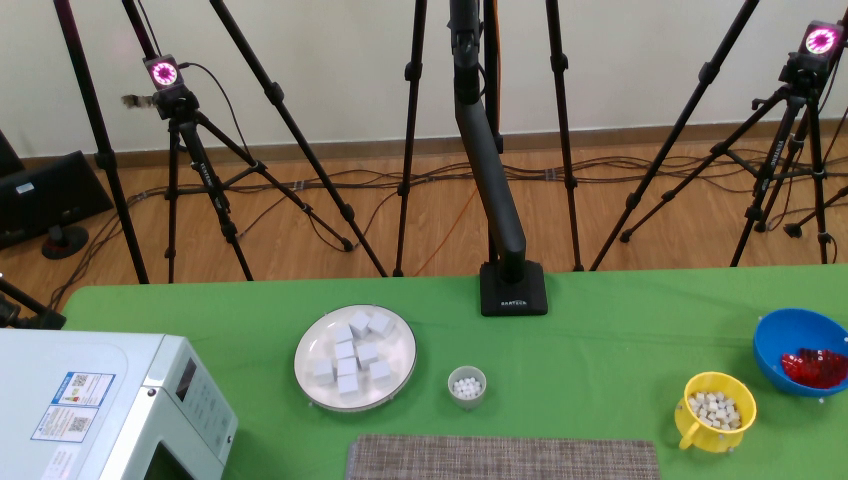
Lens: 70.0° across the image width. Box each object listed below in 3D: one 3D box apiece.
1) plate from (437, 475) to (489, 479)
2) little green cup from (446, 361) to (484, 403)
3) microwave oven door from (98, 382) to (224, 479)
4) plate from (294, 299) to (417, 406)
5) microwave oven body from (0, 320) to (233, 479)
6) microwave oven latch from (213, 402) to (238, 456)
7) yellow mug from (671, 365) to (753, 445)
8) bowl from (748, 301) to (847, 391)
[{"bbox_3d":[0.054,0.418,0.798,0.209,0.038,0.207,-3,47,4],"label":"plate"},{"bbox_3d":[0.067,0.230,0.975,0.061,0.039,0.061,-3,47,4],"label":"little green cup"},{"bbox_3d":[-0.343,0.381,0.713,0.039,0.246,0.352,1,47,7],"label":"microwave oven door"},{"bbox_3d":[-0.115,0.192,1.030,0.207,0.039,0.205,-3,47,4],"label":"plate"},{"bbox_3d":[-0.483,0.352,0.762,0.326,0.263,0.437,1,48,6],"label":"microwave oven body"},{"bbox_3d":[-0.312,0.290,0.934,0.030,0.030,0.078,2,48,7],"label":"microwave oven latch"},{"bbox_3d":[0.415,0.253,0.898,0.131,0.064,0.099,-34,53,-22],"label":"yellow mug"},{"bbox_3d":[0.578,0.177,0.944,0.151,0.077,0.150,-3,48,4],"label":"bowl"}]
